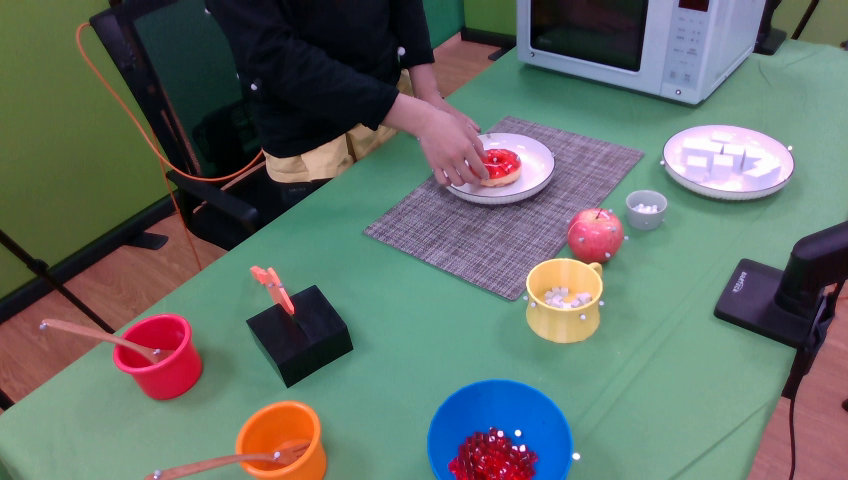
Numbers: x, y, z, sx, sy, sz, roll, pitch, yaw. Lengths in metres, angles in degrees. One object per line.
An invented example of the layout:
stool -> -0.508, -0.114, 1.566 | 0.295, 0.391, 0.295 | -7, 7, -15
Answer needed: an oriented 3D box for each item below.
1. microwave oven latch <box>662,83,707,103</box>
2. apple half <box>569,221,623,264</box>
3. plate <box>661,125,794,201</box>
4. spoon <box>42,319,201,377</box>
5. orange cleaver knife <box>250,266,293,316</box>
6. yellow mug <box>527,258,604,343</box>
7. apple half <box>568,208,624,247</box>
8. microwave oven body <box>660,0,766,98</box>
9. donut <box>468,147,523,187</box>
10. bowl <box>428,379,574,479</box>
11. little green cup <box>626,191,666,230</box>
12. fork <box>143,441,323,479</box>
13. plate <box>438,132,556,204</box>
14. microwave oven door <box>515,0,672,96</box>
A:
microwave oven latch -> 0.517, -0.296, 1.204 | 0.078, 0.029, 0.030 | 27, 52, 35
apple half -> 0.251, 0.010, 0.884 | 0.081, 0.081, 0.032 | 3, 37, 12
plate -> 0.513, -0.128, 1.035 | 0.207, 0.039, 0.206 | -4, 40, 4
spoon -> -0.385, 0.135, 0.779 | 0.195, 0.021, 0.041 | 29, 37, -26
orange cleaver knife -> -0.221, 0.071, 0.873 | 0.012, 0.077, 0.210 | -26, 11, -21
yellow mug -> 0.201, 0.072, 0.825 | 0.131, 0.064, 0.099 | -32, 46, -27
apple half -> 0.259, -0.014, 0.914 | 0.080, 0.075, 0.053 | 0, 36, 15
microwave oven body -> 0.472, -0.513, 1.317 | 0.438, 0.261, 0.327 | 26, 51, 34
donut -> 0.128, -0.132, 1.075 | 0.099, 0.048, 0.098 | -5, 38, 5
bowl -> 0.082, 0.233, 0.644 | 0.151, 0.077, 0.150 | -4, 39, 4
little green cup -> 0.352, -0.046, 0.963 | 0.061, 0.039, 0.061 | -4, 40, 4
fork -> -0.189, 0.231, 0.631 | 0.028, 0.018, 0.209 | 36, 13, 37
plate -> 0.130, -0.125, 1.084 | 0.209, 0.038, 0.208 | -4, 40, 4
microwave oven door -> 0.343, -0.454, 1.259 | 0.353, 0.245, 0.039 | 26, 51, 33
